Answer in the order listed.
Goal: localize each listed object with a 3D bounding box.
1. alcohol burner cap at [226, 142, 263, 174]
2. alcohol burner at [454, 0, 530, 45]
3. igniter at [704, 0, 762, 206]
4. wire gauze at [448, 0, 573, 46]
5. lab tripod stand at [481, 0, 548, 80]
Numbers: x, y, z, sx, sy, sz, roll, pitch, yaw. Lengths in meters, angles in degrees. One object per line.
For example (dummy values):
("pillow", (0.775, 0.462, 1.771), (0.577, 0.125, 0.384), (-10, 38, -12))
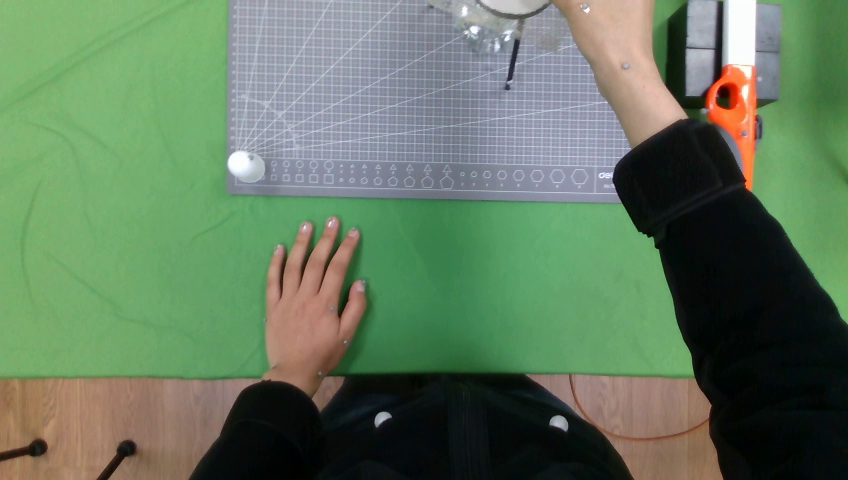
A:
("alcohol burner cap", (-0.188, -0.087, 0.628), (0.034, 0.048, 0.034), (0, 90, -4))
("alcohol burner", (0.070, -0.239, 0.603), (0.078, 0.119, 0.078), (0, 92, -1))
("igniter", (0.316, -0.172, 0.615), (0.057, 0.025, 0.276), (4, 89, 0))
("wire gauze", (0.083, -0.245, 0.527), (0.121, 0.011, 0.125), (24, 88, -3))
("lab tripod stand", (0.078, -0.248, 0.594), (0.148, 0.131, 0.148), (0, 88, -2))
